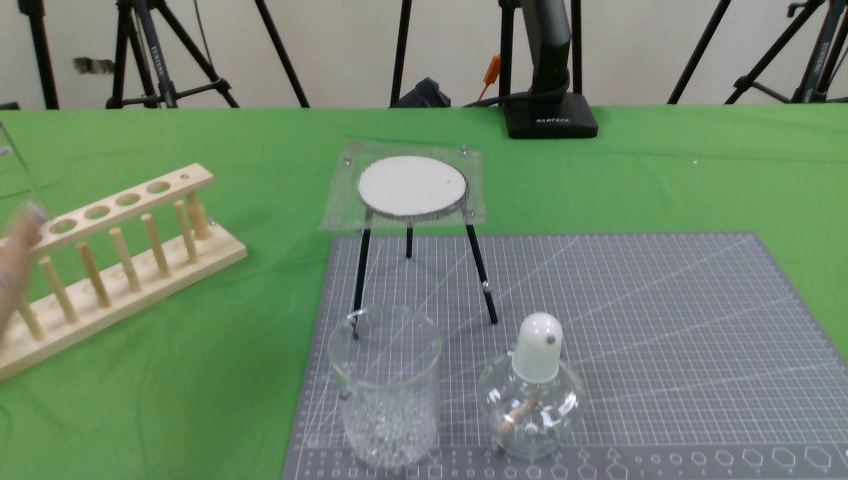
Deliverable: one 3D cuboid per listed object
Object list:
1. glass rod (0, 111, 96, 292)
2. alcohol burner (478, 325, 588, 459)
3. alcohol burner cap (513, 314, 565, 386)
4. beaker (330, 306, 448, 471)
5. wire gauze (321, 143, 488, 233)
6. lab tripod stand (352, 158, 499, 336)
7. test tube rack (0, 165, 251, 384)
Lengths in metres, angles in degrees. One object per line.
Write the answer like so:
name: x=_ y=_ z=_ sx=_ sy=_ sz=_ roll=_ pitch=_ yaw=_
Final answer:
glass rod: x=-0.325 y=-0.033 z=0.518 sx=0.008 sy=0.201 sz=0.008 roll=-5 pitch=35 yaw=4
alcohol burner: x=0.077 y=0.098 z=0.421 sx=0.078 sy=0.120 sz=0.077 roll=0 pitch=40 yaw=0
alcohol burner cap: x=0.078 y=0.070 z=0.399 sx=0.034 sy=0.048 sz=0.033 roll=2 pitch=39 yaw=-1
beaker: x=-0.025 y=0.106 z=0.426 sx=0.083 sy=0.101 sz=0.074 roll=30 pitch=47 yaw=35
wire gauze: x=-0.011 y=-0.044 z=0.481 sx=0.121 sy=0.011 sz=0.124 roll=2 pitch=38 yaw=2
lab tripod stand: x=-0.002 y=0.007 z=0.524 sx=0.148 sy=0.132 sz=0.147 roll=1 pitch=37 yaw=0
test tube rack: x=-0.289 y=0.023 z=0.554 sx=0.242 sy=0.086 sz=0.066 roll=-31 pitch=46 yaw=-33
